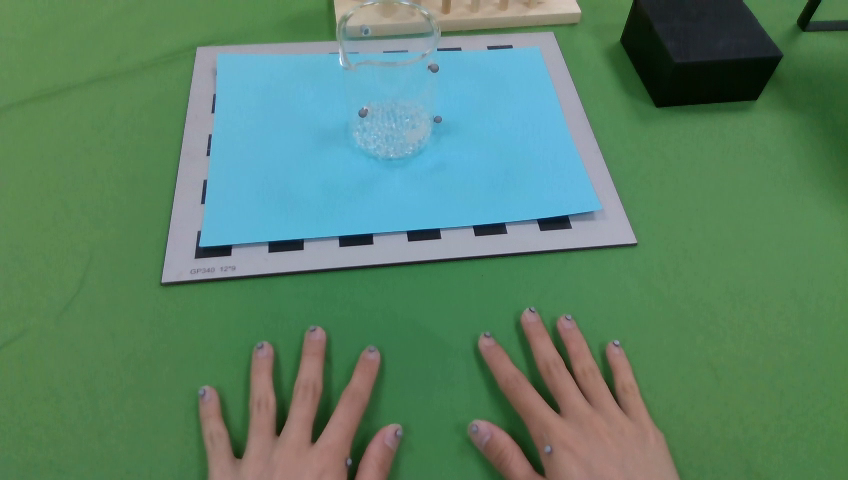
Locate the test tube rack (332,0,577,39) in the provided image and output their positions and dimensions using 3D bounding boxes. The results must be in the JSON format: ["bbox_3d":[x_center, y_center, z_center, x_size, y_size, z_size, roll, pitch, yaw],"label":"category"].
[{"bbox_3d":[0.031,-0.257,0.586,0.243,0.086,0.066,-6,54,-7],"label":"test tube rack"}]

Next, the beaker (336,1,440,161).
[{"bbox_3d":[-0.030,-0.116,0.467,0.073,0.101,0.084,35,60,21],"label":"beaker"}]
